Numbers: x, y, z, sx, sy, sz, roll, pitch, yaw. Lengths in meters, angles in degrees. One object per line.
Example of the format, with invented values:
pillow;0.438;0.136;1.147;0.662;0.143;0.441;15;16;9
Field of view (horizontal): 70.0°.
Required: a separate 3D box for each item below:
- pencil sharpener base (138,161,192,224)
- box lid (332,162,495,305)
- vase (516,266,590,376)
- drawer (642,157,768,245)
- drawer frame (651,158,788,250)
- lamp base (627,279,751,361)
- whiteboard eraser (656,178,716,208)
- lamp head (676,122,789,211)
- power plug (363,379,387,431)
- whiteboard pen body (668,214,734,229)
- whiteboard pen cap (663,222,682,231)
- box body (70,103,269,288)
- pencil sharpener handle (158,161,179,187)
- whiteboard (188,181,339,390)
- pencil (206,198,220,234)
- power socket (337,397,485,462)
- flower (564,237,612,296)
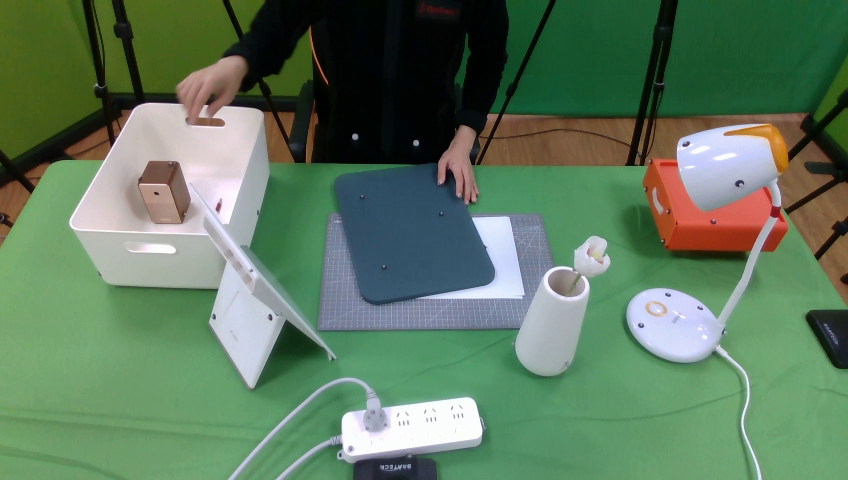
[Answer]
pencil sharpener base;-0.502;-0.094;1.181;0.061;0.107;0.076;0;45;-2
box lid;-0.031;-0.028;1.228;0.264;0.015;0.369;-9;47;-13
vase;0.208;0.132;0.964;0.098;0.201;0.097;3;46;-3
drawer;0.564;-0.075;1.210;0.212;0.073;0.193;3;45;-1
drawer frame;0.571;-0.074;1.213;0.214;0.083;0.200;1;46;0
lamp base;0.459;0.100;1.027;0.178;0.181;0.160;27;51;17
whiteboard eraser;0.538;-0.095;1.251;0.113;0.042;0.055;4;52;-10
lamp head;0.423;-0.104;0.819;0.122;0.113;0.112;-13;33;40
power plug;-0.072;0.252;0.910;0.035;0.053;0.072;3;44;-1
whiteboard pen body;0.547;-0.035;1.200;0.141;0.017;0.017;-8;48;-9
whiteboard pen cap;0.487;-0.027;1.188;0.033;0.018;0.018;0;46;-15
box body;-0.450;-0.087;1.148;0.254;0.161;0.361;2;46;-2
pencil sharpener handle;-0.503;-0.138;1.208;0.036;0.068;0.030;3;45;-4
whiteboard;-0.292;0.096;0.929;0.144;0.307;0.216;-38;57;-11
pencil;-0.420;-0.018;1.180;0.012;0.012;0.193;2;46;-2
power socket;-0.018;0.285;0.915;0.227;0.033;0.071;-5;46;-8
flower;0.206;0.088;0.893;0.038;0.363;0.044;-16;67;-9
